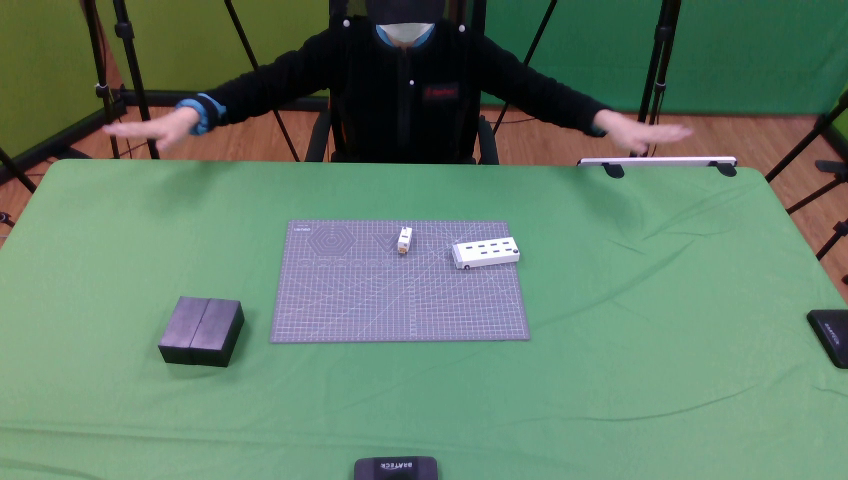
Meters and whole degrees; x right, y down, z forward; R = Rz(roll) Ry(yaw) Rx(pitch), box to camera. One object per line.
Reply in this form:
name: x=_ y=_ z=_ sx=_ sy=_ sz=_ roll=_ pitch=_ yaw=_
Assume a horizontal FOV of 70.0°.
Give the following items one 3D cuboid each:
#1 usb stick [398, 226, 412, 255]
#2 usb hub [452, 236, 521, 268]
usb stick: x=-0.038 y=0.003 z=1.184 sx=0.021 sy=0.027 sz=0.059 roll=11 pitch=49 yaw=4
usb hub: x=0.121 y=0.024 z=1.176 sx=0.125 sy=0.025 sz=0.049 roll=-7 pitch=48 yaw=-10
